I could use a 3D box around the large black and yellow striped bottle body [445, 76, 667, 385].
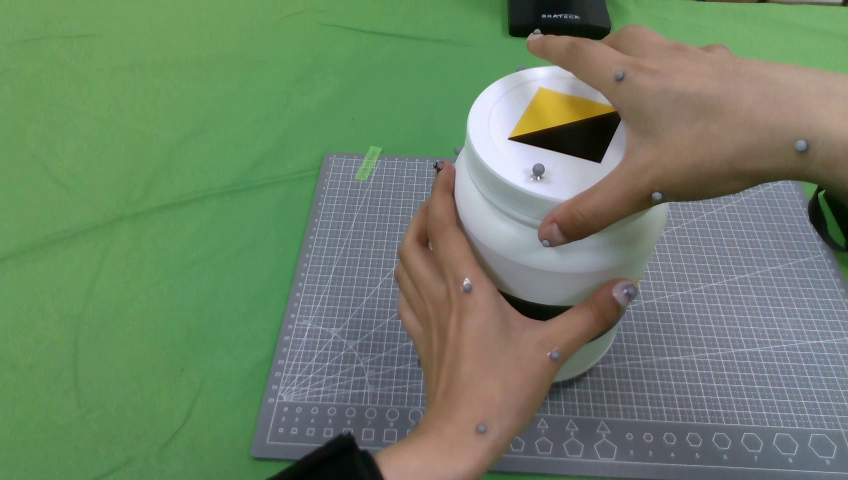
[{"bbox_3d":[0.080,-0.001,0.403,0.131,0.185,0.129,0,50,0],"label":"large black and yellow striped bottle body"}]

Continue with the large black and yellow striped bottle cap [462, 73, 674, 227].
[{"bbox_3d":[0.079,-0.054,0.338,0.115,0.019,0.114,0,49,0],"label":"large black and yellow striped bottle cap"}]
